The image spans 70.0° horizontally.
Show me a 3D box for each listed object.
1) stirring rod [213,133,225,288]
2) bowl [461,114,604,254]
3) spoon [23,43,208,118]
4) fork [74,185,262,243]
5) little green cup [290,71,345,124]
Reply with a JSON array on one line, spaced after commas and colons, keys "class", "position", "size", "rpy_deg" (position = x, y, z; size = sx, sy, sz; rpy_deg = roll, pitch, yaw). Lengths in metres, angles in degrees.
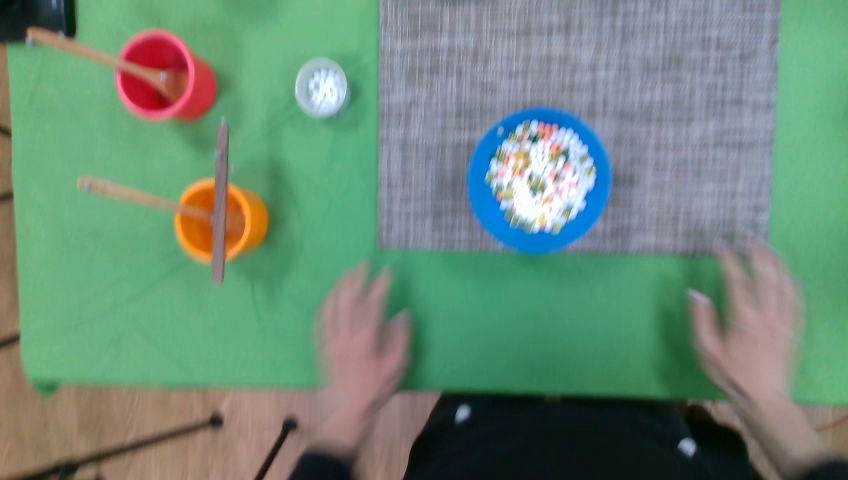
[{"class": "stirring rod", "position": [-0.233, -0.032, 0.689], "size": [0.014, 0.006, 0.176], "rpy_deg": [2, 94, 8]}, {"class": "bowl", "position": [0.119, -0.060, 0.680], "size": [0.151, 0.077, 0.151], "rpy_deg": [0, 93, 7]}, {"class": "spoon", "position": [-0.348, -0.187, 0.699], "size": [0.195, 0.021, 0.041], "rpy_deg": [15, 95, -38]}, {"class": "fork", "position": [-0.286, -0.030, 0.698], "size": [0.209, 0.018, 0.028], "rpy_deg": [16, 99, -38]}, {"class": "little green cup", "position": [-0.125, -0.168, 0.726], "size": [0.061, 0.038, 0.061], "rpy_deg": [0, 94, 7]}]
